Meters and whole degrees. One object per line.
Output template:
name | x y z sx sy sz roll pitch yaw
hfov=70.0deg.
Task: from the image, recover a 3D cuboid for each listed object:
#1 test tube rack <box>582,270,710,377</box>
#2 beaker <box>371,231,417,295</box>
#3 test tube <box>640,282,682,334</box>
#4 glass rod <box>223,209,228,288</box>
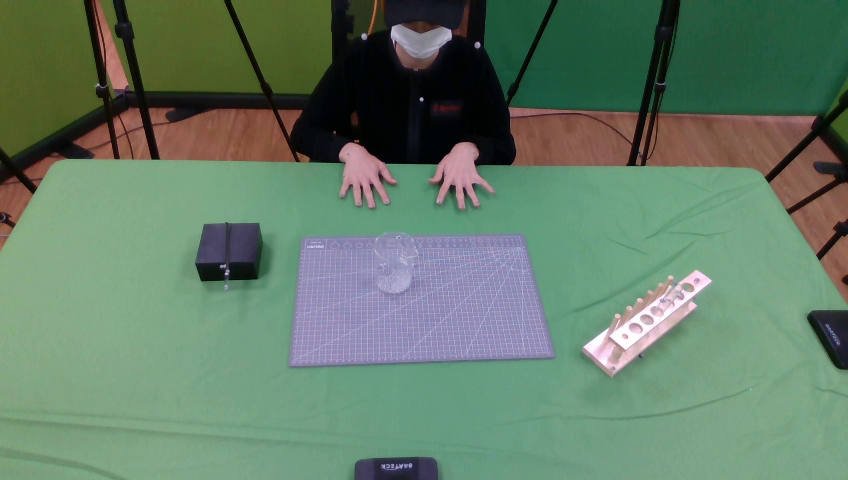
test tube rack | 0.389 0.132 1.057 0.242 0.085 0.066 -28 54 -28
beaker | -0.054 0.045 1.093 0.084 0.101 0.073 17 47 10
test tube | 0.389 0.116 1.002 0.017 0.151 0.017 2 53 -3
glass rod | -0.360 0.010 1.098 0.008 0.008 0.198 -7 47 -12
